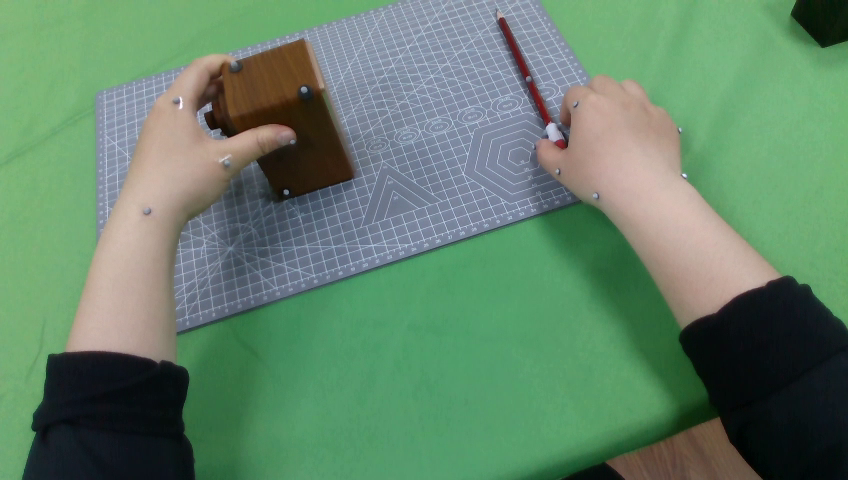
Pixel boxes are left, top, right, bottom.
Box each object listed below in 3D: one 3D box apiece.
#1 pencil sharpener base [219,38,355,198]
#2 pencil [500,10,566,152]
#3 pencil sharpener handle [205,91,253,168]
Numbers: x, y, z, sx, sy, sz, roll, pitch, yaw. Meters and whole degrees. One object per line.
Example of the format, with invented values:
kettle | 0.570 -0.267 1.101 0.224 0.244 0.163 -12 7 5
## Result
pencil sharpener base | -0.107 -0.093 0.483 0.077 0.108 0.060 -19 59 -2
pencil | 0.094 -0.151 0.549 0.012 0.012 0.192 -13 56 0
pencil sharpener handle | -0.157 -0.082 0.470 0.030 0.068 0.035 -19 58 -2
